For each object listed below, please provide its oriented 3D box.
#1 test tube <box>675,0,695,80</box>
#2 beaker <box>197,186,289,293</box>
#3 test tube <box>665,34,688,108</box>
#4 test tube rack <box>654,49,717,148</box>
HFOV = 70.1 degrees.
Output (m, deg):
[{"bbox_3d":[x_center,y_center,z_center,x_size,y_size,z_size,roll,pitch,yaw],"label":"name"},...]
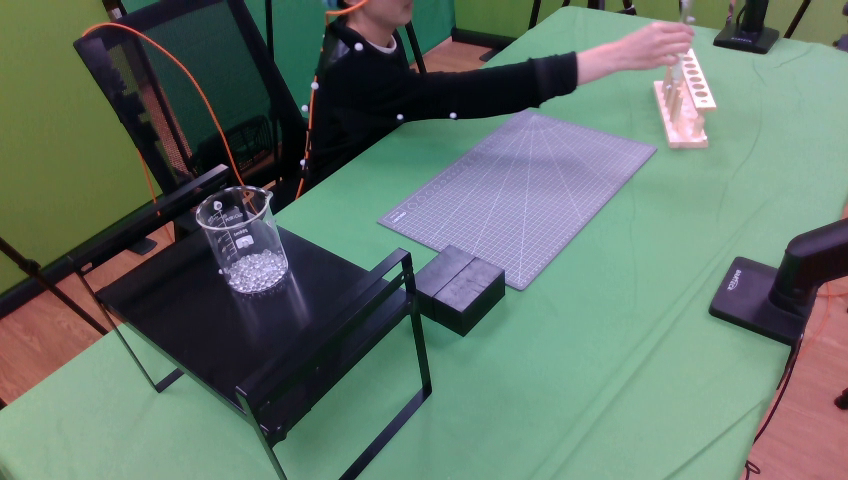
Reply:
[{"bbox_3d":[0.444,-0.342,1.031,0.017,0.151,0.017,-6,44,7],"label":"test tube"},{"bbox_3d":[-0.192,0.001,0.666,0.084,0.101,0.073,-33,47,-27],"label":"beaker"},{"bbox_3d":[0.483,-0.322,1.159,0.017,0.151,0.017,-3,42,3],"label":"test tube"},{"bbox_3d":[0.502,-0.281,1.176,0.066,0.085,0.241,1,41,11],"label":"test tube rack"}]
